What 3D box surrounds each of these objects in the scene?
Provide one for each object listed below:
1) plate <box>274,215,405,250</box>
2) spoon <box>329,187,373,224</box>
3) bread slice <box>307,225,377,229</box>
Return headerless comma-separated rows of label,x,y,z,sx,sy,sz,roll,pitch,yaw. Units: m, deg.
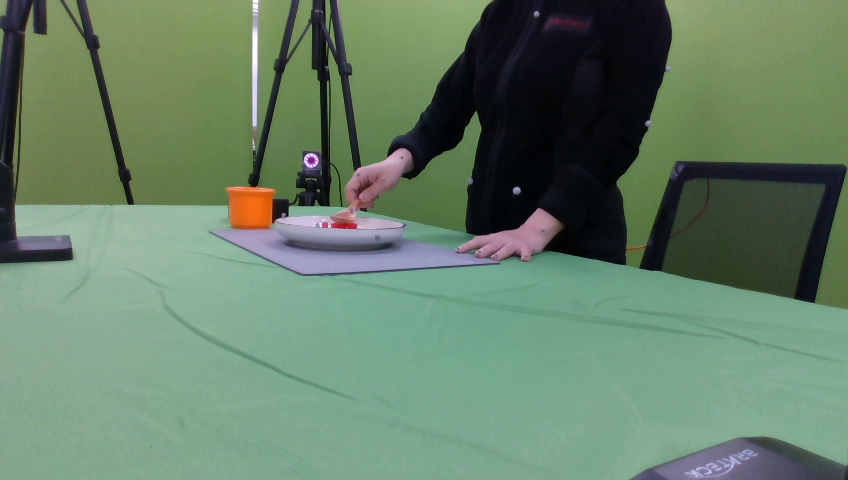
plate,-0.136,-0.013,0.981,0.209,0.038,0.209,2,7,0
spoon,-0.115,-0.062,1.029,0.041,0.021,0.194,4,24,11
bread slice,-0.133,-0.011,0.974,0.135,0.018,0.106,-3,8,-33
